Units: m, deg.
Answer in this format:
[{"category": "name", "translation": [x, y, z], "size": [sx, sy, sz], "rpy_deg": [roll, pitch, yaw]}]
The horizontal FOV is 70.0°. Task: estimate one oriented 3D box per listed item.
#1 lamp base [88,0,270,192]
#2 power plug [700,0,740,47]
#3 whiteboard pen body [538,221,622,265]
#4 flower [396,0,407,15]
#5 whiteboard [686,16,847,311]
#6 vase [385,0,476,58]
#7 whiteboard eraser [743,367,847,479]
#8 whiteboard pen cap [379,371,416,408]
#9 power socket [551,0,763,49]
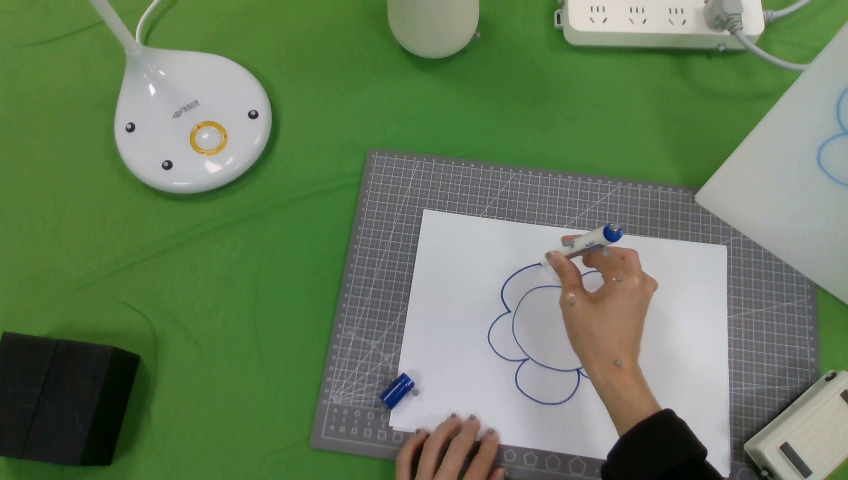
[{"category": "lamp base", "translation": [-0.253, -0.156, 0.562], "size": [0.178, 0.181, 0.160], "rpy_deg": [40, 76, 16]}, {"category": "power plug", "translation": [0.304, -0.225, 0.630], "size": [0.035, 0.053, 0.072], "rpy_deg": [12, 78, 5]}, {"category": "whiteboard pen body", "translation": [0.128, 0.007, 0.523], "size": [0.017, 0.141, 0.017], "rpy_deg": [3, 77, -13]}, {"category": "flower", "translation": [0.020, -0.284, 0.504], "size": [0.044, 0.361, 0.038], "rpy_deg": [-36, 91, -19]}, {"category": "whiteboard", "translation": [0.418, -0.102, 0.501], "size": [0.216, 0.307, 0.143], "rpy_deg": [38, 55, 13]}, {"category": "vase", "translation": [0.004, -0.268, 0.585], "size": [0.098, 0.201, 0.097], "rpy_deg": [-1, 71, 2]}, {"category": "whiteboard eraser", "translation": [0.332, 0.162, 0.519], "size": [0.112, 0.042, 0.055], "rpy_deg": [-35, 73, -10]}, {"category": "whiteboard pen cap", "translation": [-0.023, 0.135, 0.546], "size": [0.018, 0.018, 0.033], "rpy_deg": [42, 75, 14]}, {"category": "power socket", "translation": [0.255, -0.248, 0.662], "size": [0.227, 0.033, 0.072], "rpy_deg": [2, 73, 1]}]
